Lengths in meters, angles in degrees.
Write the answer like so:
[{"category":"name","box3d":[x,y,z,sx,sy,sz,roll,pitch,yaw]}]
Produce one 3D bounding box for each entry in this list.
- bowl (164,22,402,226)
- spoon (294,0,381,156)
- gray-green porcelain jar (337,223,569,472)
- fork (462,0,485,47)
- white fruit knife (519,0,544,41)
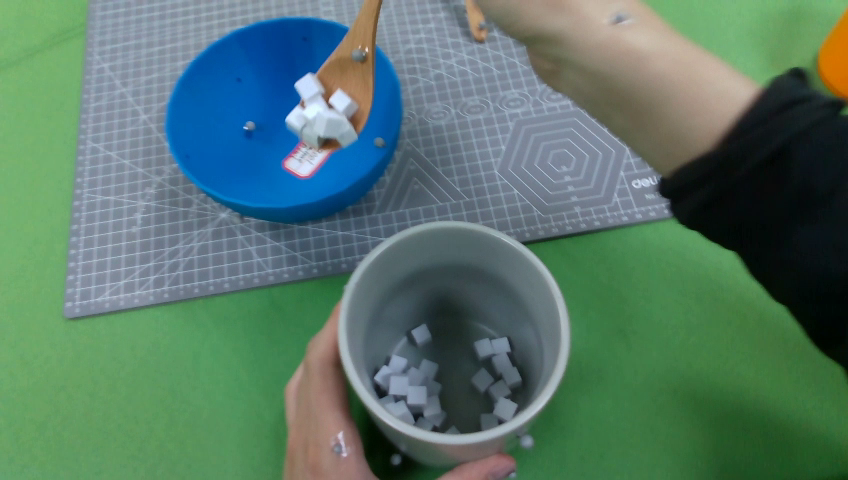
[{"category":"bowl","box3d":[-0.087,-0.066,0.416,0.151,0.077,0.150,-1,64,2]},{"category":"spoon","box3d":[-0.021,-0.132,0.310,0.041,0.022,0.194,32,111,16]},{"category":"gray-green porcelain jar","box3d":[0.015,0.066,0.326,0.106,0.127,0.105,-1,63,2]},{"category":"fork","box3d":[0.023,-0.260,0.506,0.028,0.018,0.206,-12,83,-10]},{"category":"white fruit knife","box3d":[0.072,-0.266,0.510,0.016,0.027,0.206,-10,78,-4]}]
